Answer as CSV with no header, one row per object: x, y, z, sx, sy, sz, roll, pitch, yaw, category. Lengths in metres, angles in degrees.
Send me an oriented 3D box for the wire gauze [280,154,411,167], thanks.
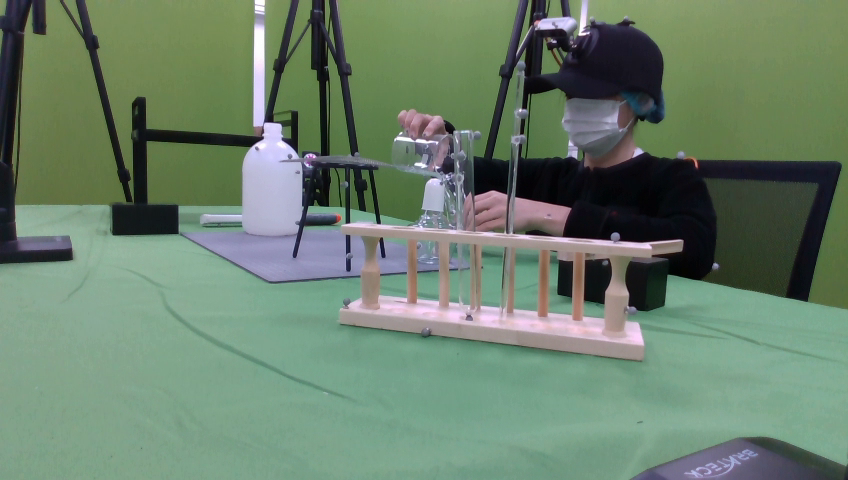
-0.102,-0.104,0.785,0.121,0.011,0.126,8,8,42,wire gauze

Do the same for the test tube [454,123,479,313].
0.034,-0.016,0.477,0.017,0.150,0.017,-2,9,1,test tube

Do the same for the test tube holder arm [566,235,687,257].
0.215,0.006,0.629,0.179,0.015,0.013,-3,10,-30,test tube holder arm

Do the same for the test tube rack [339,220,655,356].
0.056,0.032,0.495,0.242,0.085,0.067,4,7,15,test tube rack

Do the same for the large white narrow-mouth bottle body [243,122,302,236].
-0.264,-0.109,1.061,0.102,0.194,0.102,2,8,0,large white narrow-mouth bottle body

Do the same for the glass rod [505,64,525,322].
0.069,-0.030,0.458,0.008,0.199,0.008,0,15,0,glass rod

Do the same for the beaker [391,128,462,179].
0.002,-0.146,1.008,0.100,0.084,0.074,14,8,36,beaker

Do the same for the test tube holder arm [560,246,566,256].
0.173,0.007,0.611,0.088,0.015,0.010,-3,10,-30,test tube holder arm

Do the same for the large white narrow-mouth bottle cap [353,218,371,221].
-0.121,-0.029,1.184,0.038,0.024,0.037,2,8,0,large white narrow-mouth bottle cap

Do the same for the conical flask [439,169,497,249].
0.061,-0.053,0.973,0.075,0.121,0.075,-23,-12,-5,conical flask

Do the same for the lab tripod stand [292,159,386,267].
-0.105,-0.039,0.797,0.148,0.131,0.148,2,5,0,lab tripod stand

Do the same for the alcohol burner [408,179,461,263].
0.014,-0.029,0.834,0.078,0.119,0.078,0,6,0,alcohol burner

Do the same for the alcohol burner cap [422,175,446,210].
0.016,-0.065,0.830,0.034,0.048,0.034,7,4,0,alcohol burner cap

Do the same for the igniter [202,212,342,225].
-0.298,-0.043,1.216,0.278,0.025,0.057,-3,-2,-32,igniter
